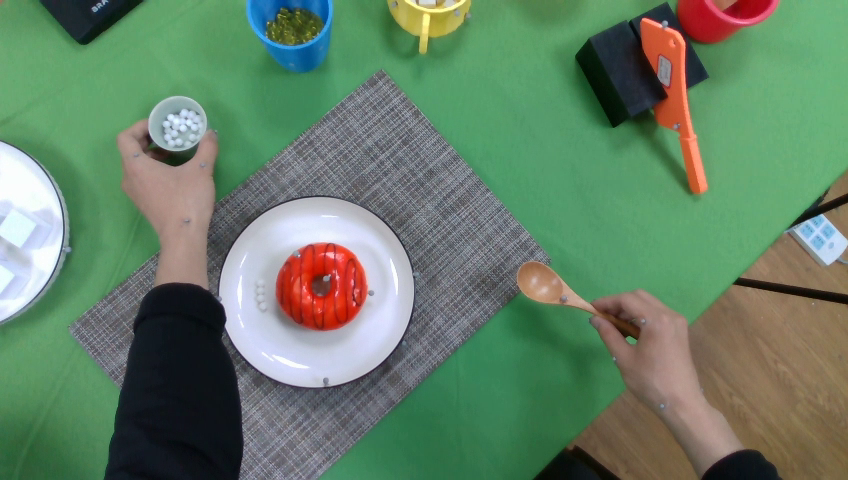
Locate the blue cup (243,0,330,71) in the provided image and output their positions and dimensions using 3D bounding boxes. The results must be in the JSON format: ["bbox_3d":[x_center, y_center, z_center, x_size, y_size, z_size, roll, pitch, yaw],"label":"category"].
[{"bbox_3d":[-0.142,-0.229,0.652,0.093,0.100,0.092,0,86,-7],"label":"blue cup"}]

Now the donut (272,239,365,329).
[{"bbox_3d":[-0.113,0.047,0.651,0.099,0.048,0.099,0,87,-4],"label":"donut"}]

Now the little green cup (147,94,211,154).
[{"bbox_3d":[-0.265,-0.124,0.663,0.061,0.039,0.061,0,83,-3],"label":"little green cup"}]

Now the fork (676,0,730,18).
[{"bbox_3d":[0.392,-0.301,0.682,0.206,0.019,0.028,-15,83,36],"label":"fork"}]

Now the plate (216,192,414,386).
[{"bbox_3d":[-0.116,0.052,0.661,0.209,0.038,0.208,0,86,-5],"label":"plate"}]

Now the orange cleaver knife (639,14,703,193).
[{"bbox_3d":[0.282,-0.153,0.693,0.012,0.076,0.213,-26,117,-4],"label":"orange cleaver knife"}]

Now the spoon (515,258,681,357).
[{"bbox_3d":[0.183,0.075,0.639,0.193,0.022,0.041,28,75,7],"label":"spoon"}]

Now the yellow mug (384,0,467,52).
[{"bbox_3d":[0.003,-0.278,0.686,0.100,0.064,0.130,7,86,-5],"label":"yellow mug"}]

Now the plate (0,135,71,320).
[{"bbox_3d":[-0.477,-0.011,0.638,0.208,0.039,0.207,0,86,-5],"label":"plate"}]
